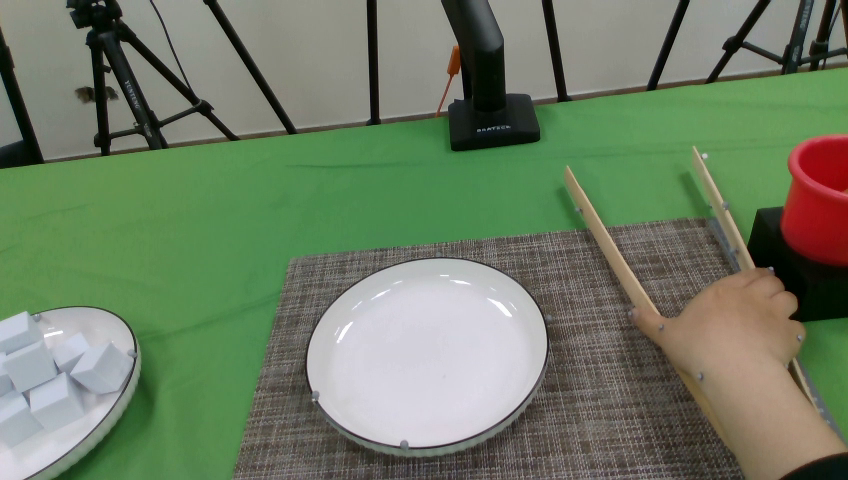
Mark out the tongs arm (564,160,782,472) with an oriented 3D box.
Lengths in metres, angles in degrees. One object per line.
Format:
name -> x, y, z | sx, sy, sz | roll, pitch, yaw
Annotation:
tongs arm -> 0.199, 0.036, 0.560 | 0.028, 0.028, 0.383 | -8, 40, -6

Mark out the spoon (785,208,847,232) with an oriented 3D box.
spoon -> 0.361, -0.038, 0.448 | 0.041, 0.194, 0.021 | -29, 85, -28

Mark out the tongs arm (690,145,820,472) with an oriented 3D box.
tongs arm -> 0.277, 0.027, 0.555 | 0.051, 0.027, 0.381 | -2, 41, 6

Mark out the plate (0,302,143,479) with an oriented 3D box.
plate -> -0.355, 0.143, 0.545 | 0.209, 0.038, 0.207 | -5, 40, 5

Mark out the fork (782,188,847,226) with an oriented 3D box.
fork -> 0.389, -0.068, 0.479 | 0.207, 0.019, 0.028 | -39, 7, 28

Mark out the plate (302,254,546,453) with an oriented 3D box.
plate -> 0.000, 0.095, 0.526 | 0.207, 0.039, 0.205 | -5, 40, 5
